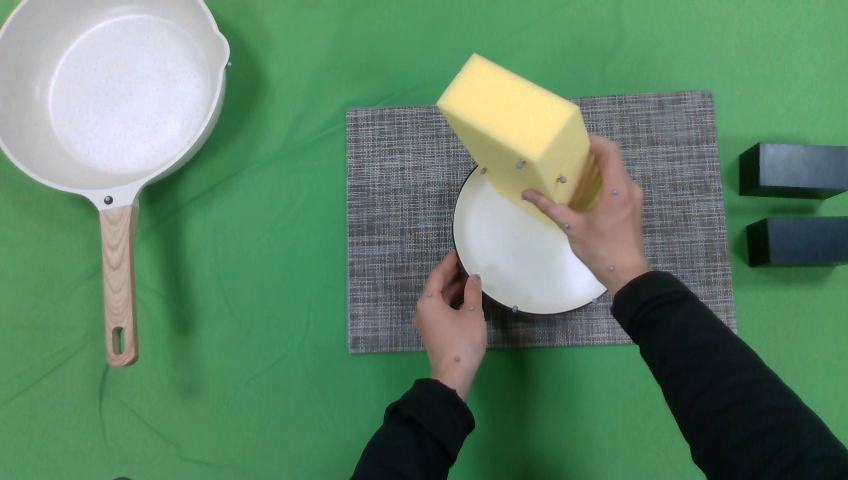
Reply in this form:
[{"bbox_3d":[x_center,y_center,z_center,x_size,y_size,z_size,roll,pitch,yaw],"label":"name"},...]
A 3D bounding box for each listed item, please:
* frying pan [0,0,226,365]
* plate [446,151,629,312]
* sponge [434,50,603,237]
[{"bbox_3d":[-0.365,-0.095,0.712,0.307,0.103,0.484,-10,73,3],"label":"frying pan"},{"bbox_3d":[0.130,-0.019,0.708,0.207,0.039,0.207,0,82,3],"label":"plate"},{"bbox_3d":[0.105,-0.088,0.613,0.117,0.209,0.061,36,88,29],"label":"sponge"}]
